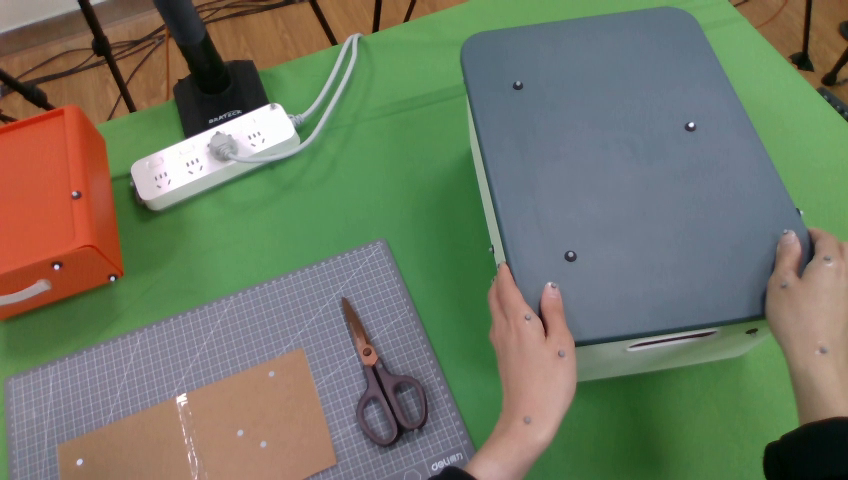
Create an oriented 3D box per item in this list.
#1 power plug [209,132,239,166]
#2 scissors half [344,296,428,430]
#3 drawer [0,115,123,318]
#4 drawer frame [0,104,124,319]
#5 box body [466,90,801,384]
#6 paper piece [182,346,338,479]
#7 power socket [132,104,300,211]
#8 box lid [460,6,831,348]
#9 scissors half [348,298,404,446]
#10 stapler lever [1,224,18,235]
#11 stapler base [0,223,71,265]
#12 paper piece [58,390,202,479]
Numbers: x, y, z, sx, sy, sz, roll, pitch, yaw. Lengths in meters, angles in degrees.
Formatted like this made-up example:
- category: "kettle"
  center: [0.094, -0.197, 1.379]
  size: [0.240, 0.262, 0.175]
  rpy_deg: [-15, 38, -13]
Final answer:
- category: "power plug"
  center: [-0.248, -0.103, 0.758]
  size: [0.035, 0.053, 0.072]
  rpy_deg: [-17, 61, -6]
- category: "scissors half"
  center: [-0.045, 0.125, 0.648]
  size: [0.040, 0.013, 0.173]
  rpy_deg: [-42, 59, 6]
- category: "drawer"
  center: [-0.457, -0.025, 0.677]
  size: [0.194, 0.074, 0.209]
  rpy_deg: [-20, 61, -6]
- category: "drawer frame"
  center: [-0.460, -0.026, 0.678]
  size: [0.202, 0.083, 0.211]
  rpy_deg: [-20, 60, -7]
- category: "box body"
  center: [0.193, -0.047, 0.645]
  size: [0.254, 0.162, 0.360]
  rpy_deg: [-9, 61, -1]
- category: "paper piece"
  center: [-0.172, 0.192, 0.625]
  size: [0.135, 0.004, 0.134]
  rpy_deg: [-21, 62, -7]
- category: "power socket"
  center: [-0.269, -0.110, 0.790]
  size: [0.227, 0.033, 0.071]
  rpy_deg: [-26, 63, -10]
- category: "box lid"
  center: [0.188, -0.083, 0.579]
  size: [0.263, 0.015, 0.368]
  rpy_deg: [-9, 60, -1]
- category: "scissors half"
  center: [-0.061, 0.137, 0.653]
  size: [0.040, 0.013, 0.173]
  rpy_deg: [-30, 61, 19]
- category: "stapler lever"
  center: [-0.473, -0.005, 0.659]
  size: [0.118, 0.040, 0.026]
  rpy_deg: [6, 77, 12]
- category: "stapler base"
  center: [-0.467, 0.001, 0.684]
  size: [0.130, 0.024, 0.041]
  rpy_deg: [6, 78, 11]
- category: "paper piece"
  center: [-0.295, 0.240, 0.608]
  size: [0.136, 0.009, 0.137]
  rpy_deg: [-22, 63, -5]
